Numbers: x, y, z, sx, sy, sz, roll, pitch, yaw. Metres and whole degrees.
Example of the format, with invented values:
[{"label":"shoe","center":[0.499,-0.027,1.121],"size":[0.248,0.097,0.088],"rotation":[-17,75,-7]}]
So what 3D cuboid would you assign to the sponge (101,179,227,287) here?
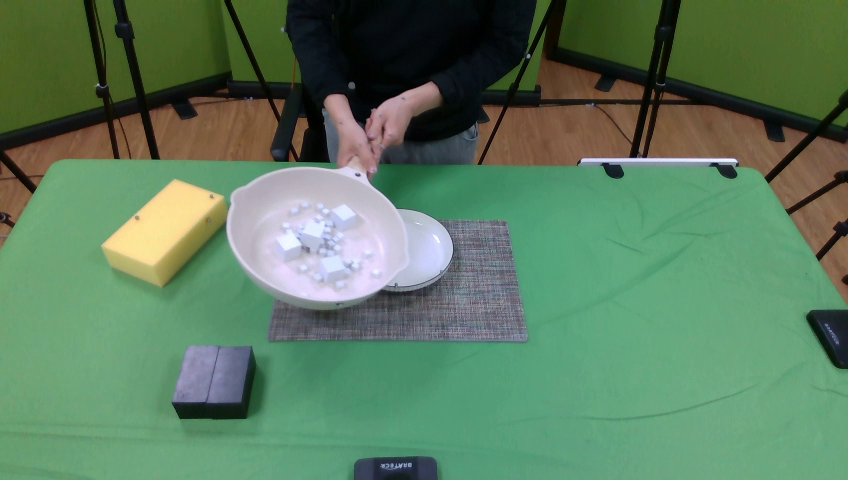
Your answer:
[{"label":"sponge","center":[-0.486,-0.019,1.151],"size":[0.118,0.061,0.206],"rotation":[19,47,12]}]

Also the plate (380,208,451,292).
[{"label":"plate","center":[-0.053,0.023,1.156],"size":[0.208,0.039,0.206],"rotation":[2,46,-2]}]

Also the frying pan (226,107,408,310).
[{"label":"frying pan","center":[-0.145,-0.078,1.065],"size":[0.307,0.103,0.485],"rotation":[23,54,-1]}]
